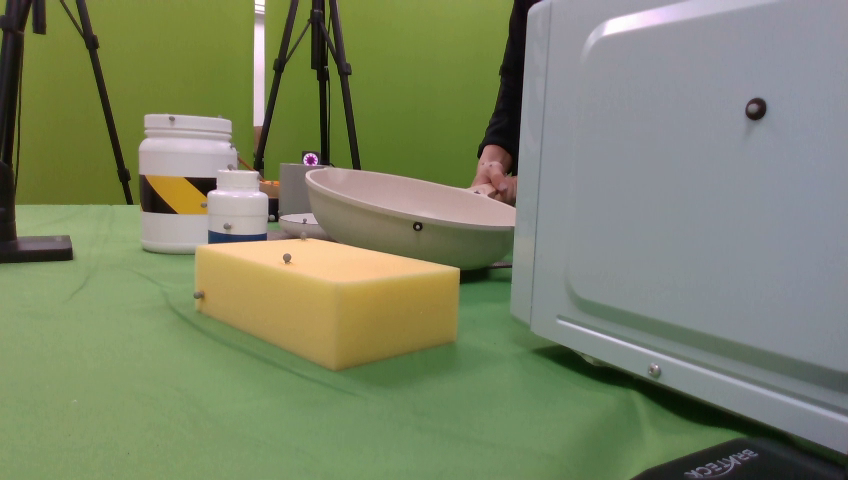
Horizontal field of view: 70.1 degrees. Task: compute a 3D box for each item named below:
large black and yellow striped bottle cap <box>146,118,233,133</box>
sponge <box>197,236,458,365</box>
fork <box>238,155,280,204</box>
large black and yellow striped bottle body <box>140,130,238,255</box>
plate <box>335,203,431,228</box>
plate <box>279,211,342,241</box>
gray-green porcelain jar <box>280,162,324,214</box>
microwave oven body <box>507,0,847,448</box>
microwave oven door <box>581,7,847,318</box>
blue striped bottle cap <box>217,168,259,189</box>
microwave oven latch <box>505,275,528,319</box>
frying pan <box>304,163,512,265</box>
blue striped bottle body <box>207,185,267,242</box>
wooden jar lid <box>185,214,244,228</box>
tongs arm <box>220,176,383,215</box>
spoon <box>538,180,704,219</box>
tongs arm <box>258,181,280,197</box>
[{"bbox_3d":[-0.333,-0.163,0.861,0.115,0.019,0.115,1,9,0],"label":"large black and yellow striped bottle cap"},{"bbox_3d":[-0.087,0.039,0.500,0.206,0.061,0.119,8,9,44],"label":"sponge"},{"bbox_3d":[-0.396,-0.143,1.486,0.028,0.018,0.208,20,-26,45],"label":"fork"},{"bbox_3d":[-0.336,-0.078,0.871,0.131,0.184,0.130,2,8,0],"label":"large black and yellow striped bottle body"},{"bbox_3d":[-0.089,-0.053,1.309,0.208,0.039,0.207,2,8,0],"label":"plate"},{"bbox_3d":[-0.139,-0.022,1.021,0.209,0.038,0.209,2,8,0],"label":"plate"},{"bbox_3d":[-0.238,-0.092,1.221,0.106,0.126,0.106,2,7,0],"label":"gray-green porcelain jar"},{"bbox_3d":[0.331,-0.042,0.425,0.444,0.260,0.324,-2,8,-31],"label":"microwave oven body"},{"bbox_3d":[0.295,-0.067,0.569,0.358,0.243,0.039,-3,8,-31],"label":"microwave oven door"},{"bbox_3d":[-0.202,-0.067,0.656,0.044,0.020,0.044,0,10,0],"label":"blue striped bottle cap"},{"bbox_3d":[0.100,0.042,0.471,0.079,0.029,0.030,-2,7,-29],"label":"microwave oven latch"},{"bbox_3d":[0.046,-0.060,0.869,0.305,0.102,0.490,20,24,30],"label":"frying pan"},{"bbox_3d":[-0.204,-0.016,0.663,0.063,0.120,0.063,2,7,0],"label":"blue striped bottle body"},{"bbox_3d":[-0.404,-0.037,1.169,0.108,0.020,0.108,3,7,0],"label":"wooden jar lid"},{"bbox_3d":[-0.285,-0.103,1.445,0.389,0.027,0.028,9,-4,-23],"label":"tongs arm"},{"bbox_3d":[0.236,-0.042,0.729,0.193,0.041,0.022,9,-5,12],"label":"spoon"},{"bbox_3d":[-0.241,-0.095,1.373,0.387,0.026,0.050,9,-1,-37],"label":"tongs arm"}]
